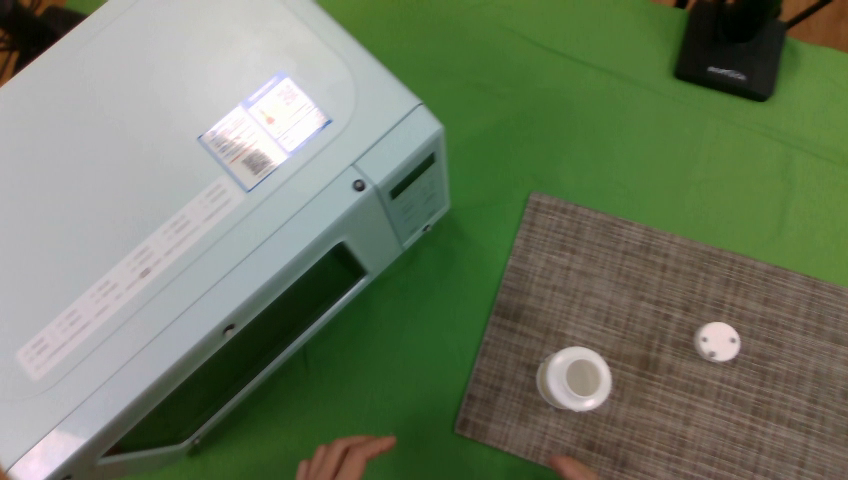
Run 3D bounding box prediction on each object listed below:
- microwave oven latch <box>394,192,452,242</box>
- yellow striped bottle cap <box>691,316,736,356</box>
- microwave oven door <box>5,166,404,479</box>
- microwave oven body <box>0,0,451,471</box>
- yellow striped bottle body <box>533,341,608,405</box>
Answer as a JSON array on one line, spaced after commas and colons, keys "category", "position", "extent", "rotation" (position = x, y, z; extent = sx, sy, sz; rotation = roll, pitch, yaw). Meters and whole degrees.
[{"category": "microwave oven latch", "position": [-0.003, -0.035, 0.705], "extent": [0.079, 0.029, 0.030], "rotation": [-41, 79, -6]}, {"category": "yellow striped bottle cap", "position": [0.325, 0.108, 0.682], "extent": [0.044, 0.019, 0.044], "rotation": [-1, 77, 5]}, {"category": "microwave oven door", "position": [-0.171, 0.089, 0.581], "extent": [0.355, 0.245, 0.039], "rotation": [-43, 77, -7]}, {"category": "microwave oven body", "position": [-0.239, -0.041, 0.619], "extent": [0.441, 0.261, 0.324], "rotation": [-43, 79, -6]}, {"category": "yellow striped bottle body", "position": [0.151, 0.139, 0.629], "extent": [0.063, 0.121, 0.062], "rotation": [-1, 76, 3]}]
